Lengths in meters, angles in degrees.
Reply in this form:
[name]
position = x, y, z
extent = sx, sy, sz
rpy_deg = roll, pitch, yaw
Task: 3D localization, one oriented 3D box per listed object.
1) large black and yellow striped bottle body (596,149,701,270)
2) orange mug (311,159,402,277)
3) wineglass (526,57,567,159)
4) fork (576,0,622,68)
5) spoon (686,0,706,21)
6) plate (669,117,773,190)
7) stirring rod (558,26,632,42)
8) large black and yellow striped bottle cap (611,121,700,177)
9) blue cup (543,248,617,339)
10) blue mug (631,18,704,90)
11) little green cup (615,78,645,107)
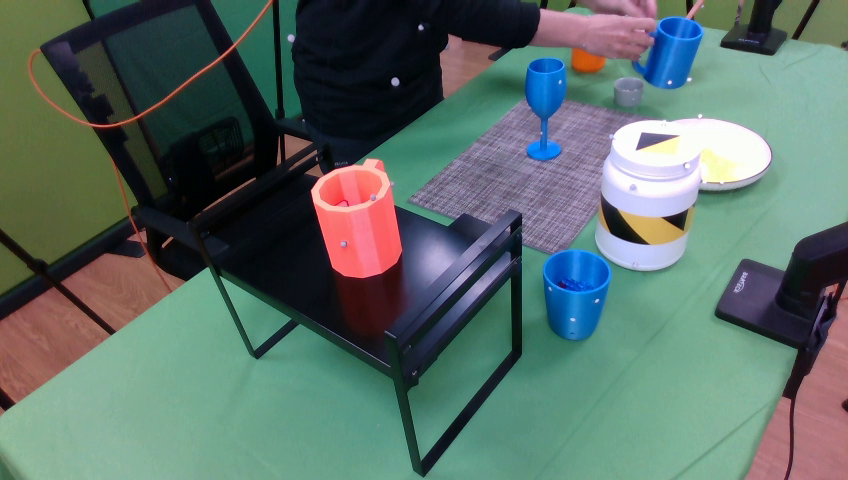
[large black and yellow striped bottle body]
position = 0.323, -0.062, 0.877
extent = 0.131, 0.185, 0.130
rpy_deg = -5, 40, 4
[orange mug]
position = -0.069, -0.034, 0.694
extent = 0.083, 0.101, 0.126
rpy_deg = 5, 46, 16
[wineglass]
position = 0.221, -0.236, 1.097
extent = 0.074, 0.173, 0.073
rpy_deg = -5, 41, 4
[fork]
position = 0.409, -0.484, 1.381
extent = 0.028, 0.019, 0.207
rpy_deg = 37, 101, 45
[spoon]
position = 0.570, -0.461, 1.334
extent = 0.041, 0.022, 0.193
rpy_deg = 39, 102, 41
[plate]
position = 0.495, -0.148, 1.063
extent = 0.209, 0.038, 0.208
rpy_deg = -5, 40, 4
[stirring rod]
position = 0.381, -0.462, 1.356
extent = 0.175, 0.006, 0.014
rpy_deg = 22, 47, 30
[large black and yellow striped bottle cap]
position = 0.315, -0.126, 0.823
extent = 0.115, 0.019, 0.114
rpy_deg = -4, 42, 4
[blue cup]
position = 0.199, 0.076, 0.797
extent = 0.092, 0.100, 0.092
rpy_deg = -4, 39, 4
[blue mug]
position = 0.450, -0.350, 1.138
extent = 0.116, 0.106, 0.082
rpy_deg = 1, 49, 2
[little green cup]
position = 0.426, -0.306, 1.257
extent = 0.061, 0.039, 0.061
rpy_deg = -4, 40, 4
